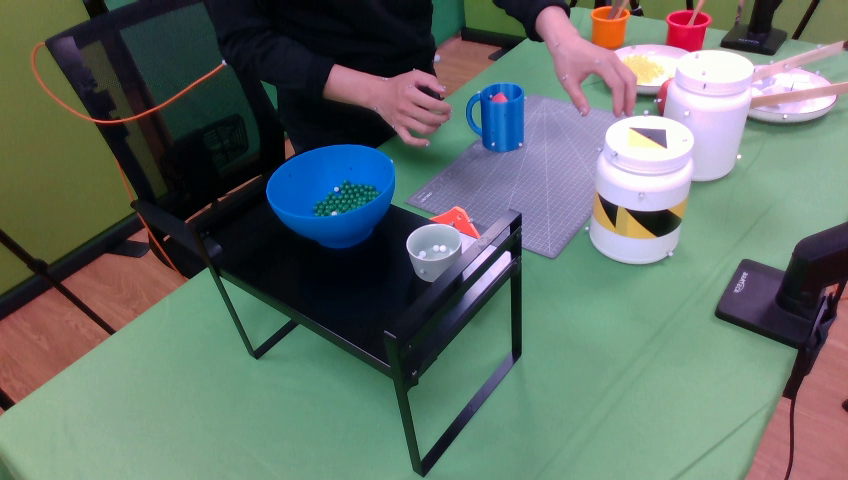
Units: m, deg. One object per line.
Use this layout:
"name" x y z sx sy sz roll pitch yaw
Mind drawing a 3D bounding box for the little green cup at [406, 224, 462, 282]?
"little green cup" 0.012 0.015 0.668 0.061 0.039 0.061 -4 40 4

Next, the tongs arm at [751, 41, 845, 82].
"tongs arm" 0.708 -0.331 1.194 0.386 0.026 0.050 -19 45 -16

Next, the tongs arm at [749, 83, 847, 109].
"tongs arm" 0.734 -0.280 1.133 0.388 0.028 0.028 -9 47 -5

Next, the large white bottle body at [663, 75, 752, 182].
"large white bottle body" 0.472 -0.207 1.022 0.130 0.185 0.130 -4 41 4

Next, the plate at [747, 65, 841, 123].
"plate" 0.695 -0.283 1.189 0.207 0.039 0.206 -4 40 4

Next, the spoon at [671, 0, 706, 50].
"spoon" 0.629 -0.520 1.394 0.041 0.022 0.193 30 96 34

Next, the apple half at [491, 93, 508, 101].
"apple half" 0.142 -0.238 1.159 0.033 0.081 0.080 -13 40 -17

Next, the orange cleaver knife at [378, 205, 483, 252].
"orange cleaver knife" 0.005 -0.010 0.944 0.210 0.077 0.012 -5 23 47

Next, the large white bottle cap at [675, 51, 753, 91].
"large white bottle cap" 0.463 -0.271 0.967 0.115 0.018 0.114 -4 40 3

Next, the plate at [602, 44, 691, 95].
"plate" 0.495 -0.367 1.317 0.209 0.038 0.208 -4 40 4

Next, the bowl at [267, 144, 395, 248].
"bowl" -0.104 -0.043 0.726 0.151 0.077 0.150 -4 40 4

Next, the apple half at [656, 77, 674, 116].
"apple half" 0.488 -0.281 1.192 0.053 0.075 0.081 24 54 37

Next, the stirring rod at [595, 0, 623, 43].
"stirring rod" 0.460 -0.556 1.459 0.014 0.006 0.176 30 93 23

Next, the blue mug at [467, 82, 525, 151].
"blue mug" 0.138 -0.241 1.169 0.116 0.106 0.082 11 44 21

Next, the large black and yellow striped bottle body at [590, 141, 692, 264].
"large black and yellow striped bottle body" 0.317 -0.071 0.889 0.131 0.185 0.130 -4 41 4

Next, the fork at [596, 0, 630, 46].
"fork" 0.481 -0.556 1.452 0.028 0.019 0.207 40 103 40

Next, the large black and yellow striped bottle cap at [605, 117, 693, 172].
"large black and yellow striped bottle cap" 0.309 -0.134 0.833 0.115 0.019 0.114 -5 40 5
